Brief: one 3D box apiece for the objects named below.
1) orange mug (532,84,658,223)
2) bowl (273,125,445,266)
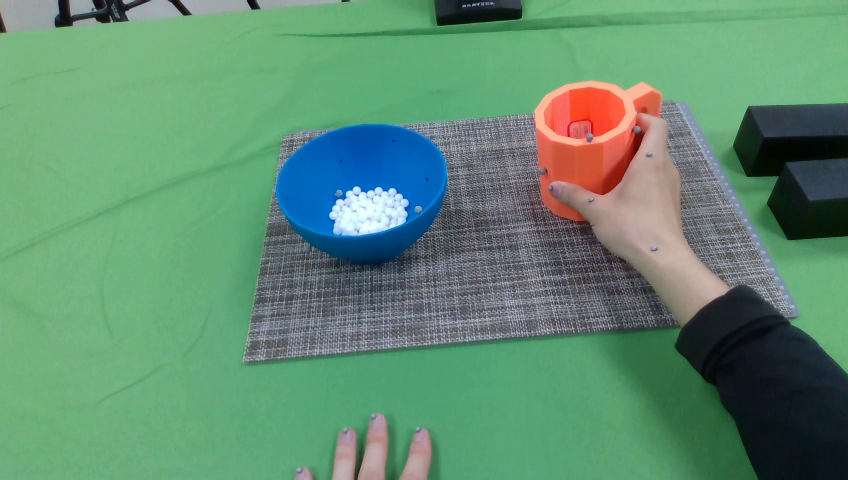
[{"bbox_3d":[0.162,-0.089,0.565,0.126,0.102,0.082,-32,50,-6],"label":"orange mug"},{"bbox_3d":[-0.053,-0.029,0.552,0.151,0.077,0.150,-3,47,3],"label":"bowl"}]
